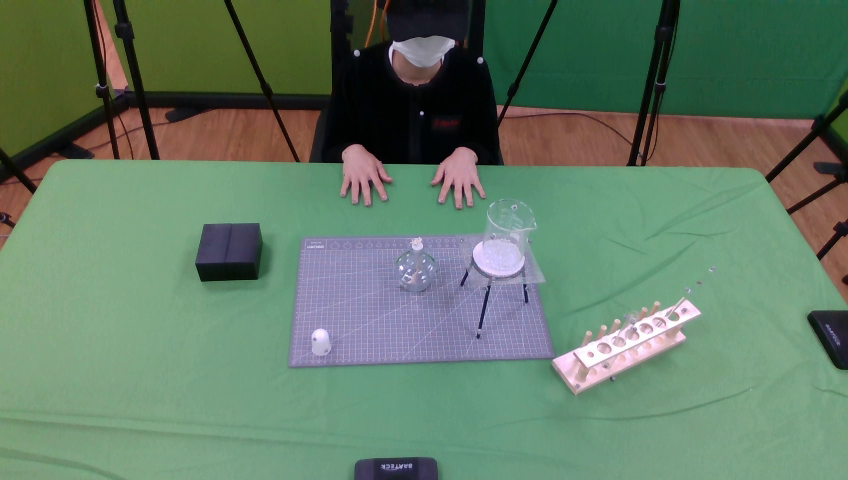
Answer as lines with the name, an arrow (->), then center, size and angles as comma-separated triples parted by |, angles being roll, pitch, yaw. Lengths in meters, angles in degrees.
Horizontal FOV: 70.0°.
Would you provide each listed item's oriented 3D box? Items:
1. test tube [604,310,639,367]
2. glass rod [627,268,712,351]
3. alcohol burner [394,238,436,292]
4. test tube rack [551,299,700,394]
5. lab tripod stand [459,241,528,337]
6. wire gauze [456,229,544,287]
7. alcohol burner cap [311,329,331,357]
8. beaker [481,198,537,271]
test tube -> 0.310, 0.158, 0.957 | 0.017, 0.151, 0.017 | 1, 49, -1
glass rod -> 0.400, 0.117, 0.995 | 0.008, 0.200, 0.008 | 26, 29, -15
alcohol burner -> -0.016, 0.038, 1.093 | 0.078, 0.119, 0.077 | 2, 48, -2
test tube rack -> 0.339, 0.166, 1.021 | 0.242, 0.085, 0.066 | -19, 50, -21
lab tripod stand -> 0.122, 0.075, 1.054 | 0.148, 0.132, 0.147 | 3, 44, -3
wire gauze -> 0.125, 0.030, 1.008 | 0.125, 0.011, 0.120 | -3, 48, -11
alcohol burner cap -> -0.173, 0.168, 1.005 | 0.034, 0.048, 0.033 | 2, 46, -2
beaker -> 0.134, -0.005, 0.974 | 0.084, 0.101, 0.074 | 23, 49, 16
